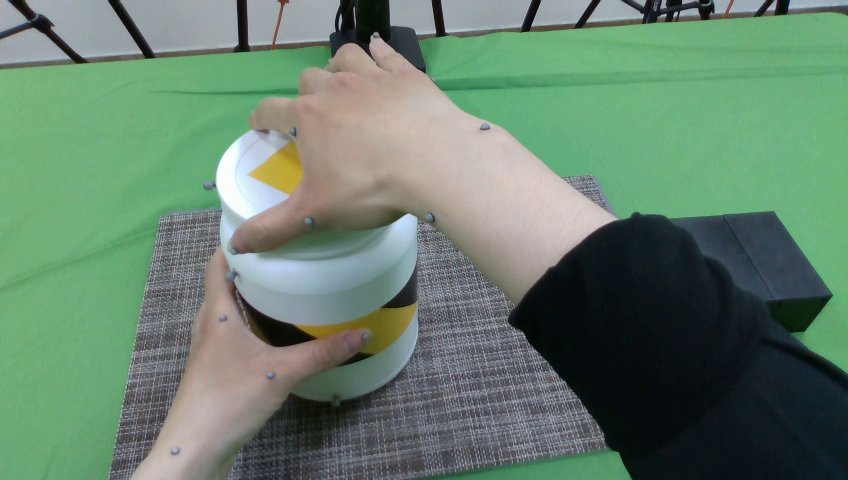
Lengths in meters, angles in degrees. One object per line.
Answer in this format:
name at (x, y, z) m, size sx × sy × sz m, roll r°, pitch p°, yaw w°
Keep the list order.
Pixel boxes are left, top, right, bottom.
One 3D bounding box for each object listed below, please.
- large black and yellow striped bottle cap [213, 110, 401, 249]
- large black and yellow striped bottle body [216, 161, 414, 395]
large black and yellow striped bottle cap at (-0.072, -0.042, 0.379) m, size 0.115 × 0.019 × 0.114 m, roll 0°, pitch 47°, yaw 0°
large black and yellow striped bottle body at (-0.073, 0.015, 0.442) m, size 0.131 × 0.185 × 0.129 m, roll 1°, pitch 47°, yaw 0°
